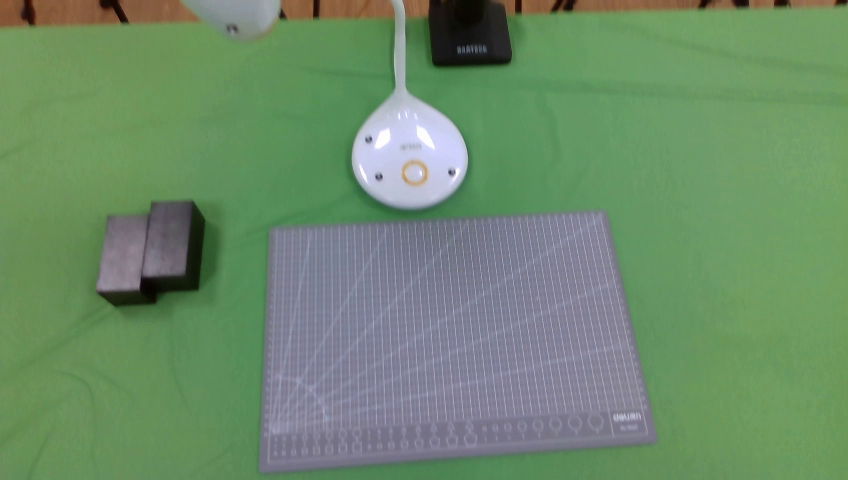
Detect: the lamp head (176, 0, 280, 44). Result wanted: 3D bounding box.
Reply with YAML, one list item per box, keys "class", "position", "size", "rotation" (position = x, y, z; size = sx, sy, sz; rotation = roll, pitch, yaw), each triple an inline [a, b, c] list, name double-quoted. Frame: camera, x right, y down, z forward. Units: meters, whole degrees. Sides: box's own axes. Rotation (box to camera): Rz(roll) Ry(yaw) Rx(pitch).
- class: "lamp head"
  position: [-0.180, -0.246, 0.563]
  size: [0.112, 0.124, 0.111]
  rotation: [-5, 67, 13]

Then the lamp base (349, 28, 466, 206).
- class: "lamp base"
  position: [-0.025, -0.161, 0.768]
  size: [0.161, 0.181, 0.177]
  rotation: [-15, 64, -9]

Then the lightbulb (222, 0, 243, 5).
- class: "lightbulb"
  position: [-0.188, -0.250, 0.539]
  size: [0.059, 0.108, 0.059]
  rotation: [-2, 70, 6]
